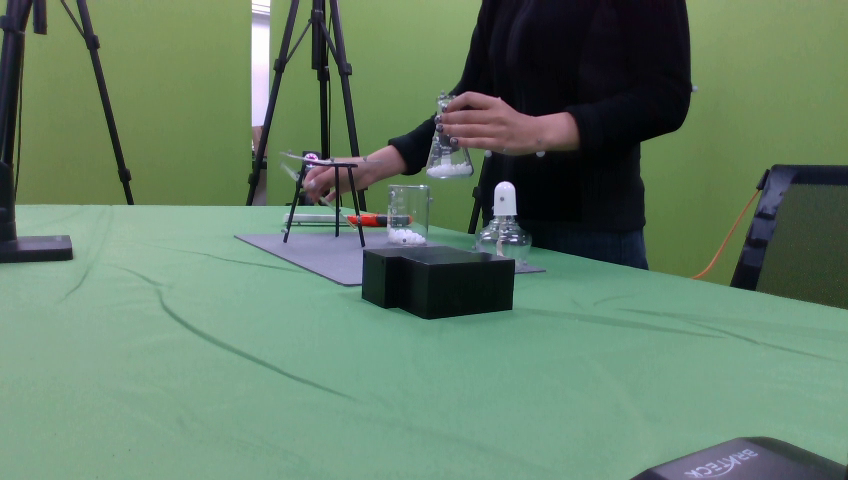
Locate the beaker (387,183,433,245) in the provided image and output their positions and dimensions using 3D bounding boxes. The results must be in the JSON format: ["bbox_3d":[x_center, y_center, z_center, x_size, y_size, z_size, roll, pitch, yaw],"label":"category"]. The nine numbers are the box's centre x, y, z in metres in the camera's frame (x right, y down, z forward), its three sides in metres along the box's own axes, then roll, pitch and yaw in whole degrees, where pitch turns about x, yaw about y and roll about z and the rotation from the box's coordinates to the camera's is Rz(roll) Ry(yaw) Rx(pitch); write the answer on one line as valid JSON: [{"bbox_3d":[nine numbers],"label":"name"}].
[{"bbox_3d":[-0.027,-0.044,1.012,0.074,0.100,0.083,-2,8,-34],"label":"beaker"}]

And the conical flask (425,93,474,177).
[{"bbox_3d":[0.038,-0.157,0.913,0.075,0.122,0.075,-1,4,0],"label":"conical flask"}]

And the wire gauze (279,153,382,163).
[{"bbox_3d":[-0.149,-0.129,0.974,0.124,0.011,0.122,10,9,41],"label":"wire gauze"}]

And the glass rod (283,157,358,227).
[{"bbox_3d":[-0.196,-0.090,1.163,0.200,0.008,0.008,45,-15,-27],"label":"glass rod"}]

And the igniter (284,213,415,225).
[{"bbox_3d":[-0.154,-0.045,1.282,0.278,0.025,0.057,0,-3,-20],"label":"igniter"}]

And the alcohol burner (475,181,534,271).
[{"bbox_3d":[0.108,-0.020,0.804,0.078,0.119,0.078,3,5,0],"label":"alcohol burner"}]

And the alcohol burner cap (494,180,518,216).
[{"bbox_3d":[0.108,-0.055,0.800,0.034,0.048,0.034,-2,4,0],"label":"alcohol burner cap"}]

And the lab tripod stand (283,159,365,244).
[{"bbox_3d":[-0.151,-0.063,0.983,0.148,0.131,0.148,4,7,0],"label":"lab tripod stand"}]
